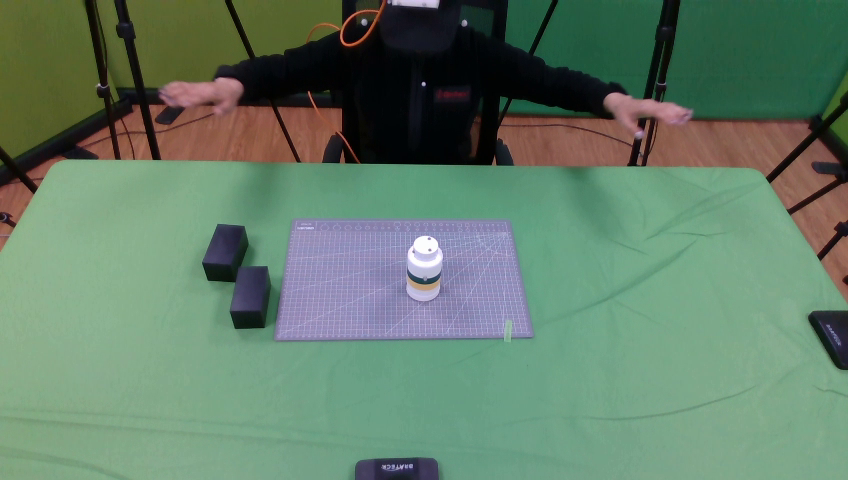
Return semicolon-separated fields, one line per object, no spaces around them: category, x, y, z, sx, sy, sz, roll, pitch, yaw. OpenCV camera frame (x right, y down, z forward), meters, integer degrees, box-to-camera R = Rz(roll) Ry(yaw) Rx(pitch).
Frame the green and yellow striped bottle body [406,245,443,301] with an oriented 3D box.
green and yellow striped bottle body;0.001;0.049;1.077;0.063;0.120;0.063;2;46;-2

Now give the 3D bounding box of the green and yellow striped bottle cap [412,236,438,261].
green and yellow striped bottle cap;0.002;0.013;1.040;0.045;0.020;0.045;3;45;-3
